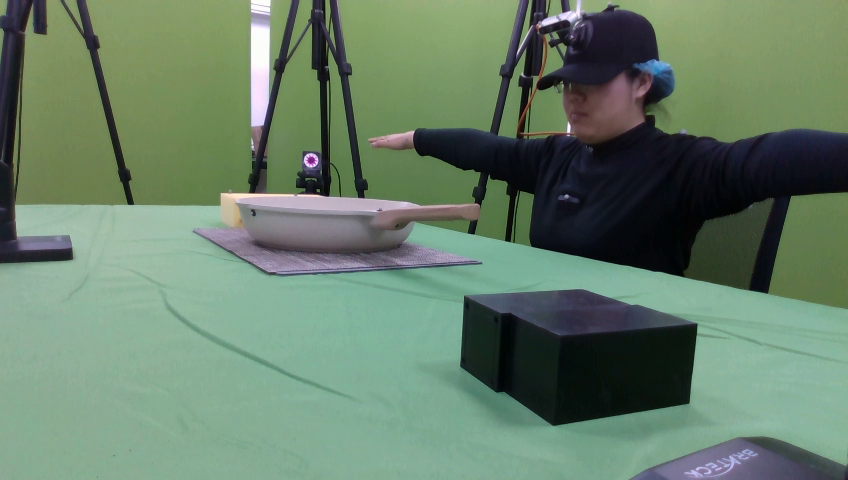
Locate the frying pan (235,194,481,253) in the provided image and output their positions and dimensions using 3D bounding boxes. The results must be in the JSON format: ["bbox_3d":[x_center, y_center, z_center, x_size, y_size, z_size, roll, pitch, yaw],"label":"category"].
[{"bbox_3d":[-0.089,-0.034,0.891,0.308,0.102,0.485,-4,2,-36],"label":"frying pan"}]

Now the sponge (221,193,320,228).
[{"bbox_3d":[-0.297,-0.062,1.235,0.208,0.061,0.117,-2,9,-31],"label":"sponge"}]
